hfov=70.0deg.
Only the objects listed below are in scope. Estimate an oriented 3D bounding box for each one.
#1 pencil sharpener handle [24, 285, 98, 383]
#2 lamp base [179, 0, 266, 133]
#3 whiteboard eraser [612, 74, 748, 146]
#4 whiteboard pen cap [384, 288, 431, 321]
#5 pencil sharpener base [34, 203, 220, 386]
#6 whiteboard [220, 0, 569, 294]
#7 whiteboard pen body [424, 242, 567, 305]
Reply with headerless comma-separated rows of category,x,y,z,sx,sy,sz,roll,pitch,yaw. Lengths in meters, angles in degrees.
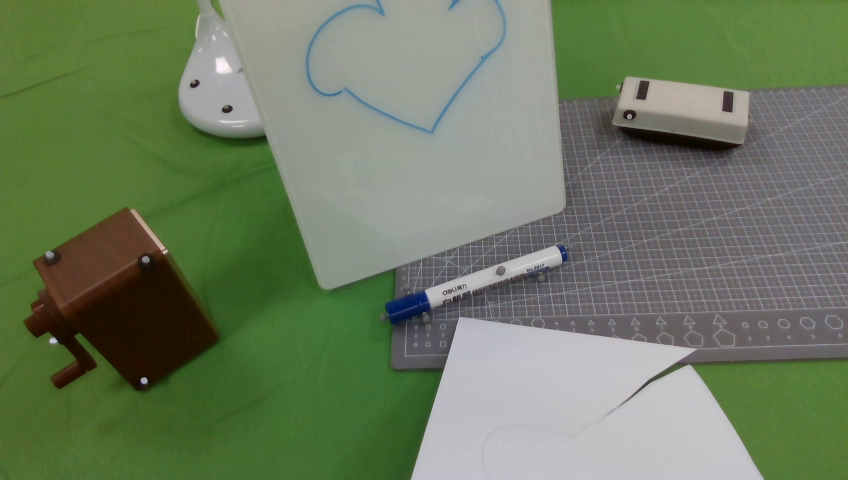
pencil sharpener handle,-0.240,0.063,0.390,0.030,0.068,0.035,-36,43,-22
lamp base,-0.194,-0.223,0.591,0.177,0.182,0.160,32,60,30
whiteboard eraser,0.232,-0.118,0.552,0.112,0.042,0.055,13,53,15
whiteboard pen cap,-0.012,0.048,0.450,0.033,0.018,0.018,-19,51,-9
pencil sharpener base,-0.203,0.042,0.421,0.076,0.108,0.061,-36,56,-22
whiteboard,-0.027,-0.150,0.472,0.217,0.308,0.142,-18,32,-9
whiteboard pen body,0.043,0.029,0.459,0.141,0.017,0.017,-18,51,-9
